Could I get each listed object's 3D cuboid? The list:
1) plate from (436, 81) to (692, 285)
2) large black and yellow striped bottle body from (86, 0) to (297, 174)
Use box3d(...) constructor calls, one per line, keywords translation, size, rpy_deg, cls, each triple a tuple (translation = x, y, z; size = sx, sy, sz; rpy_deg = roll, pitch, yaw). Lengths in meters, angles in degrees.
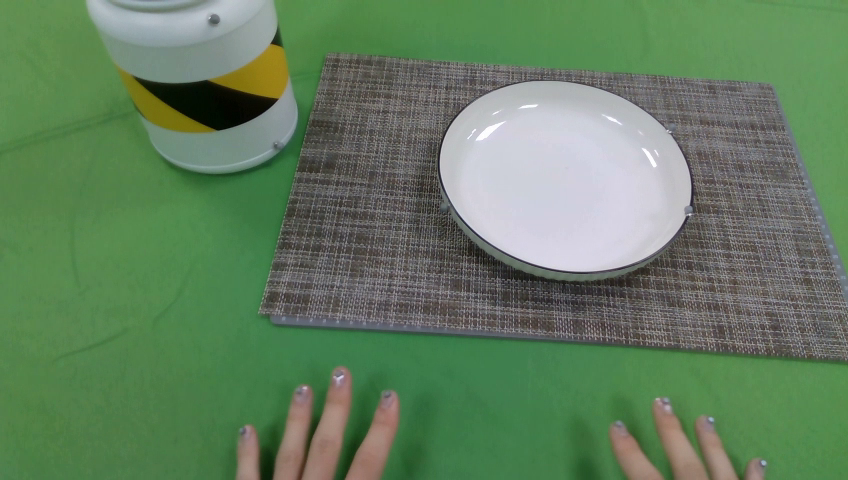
box3d(translation=(0.113, -0.049, 0.506), size=(0.208, 0.039, 0.205), rpy_deg=(1, 56, -1), cls="plate")
box3d(translation=(-0.180, -0.157, 0.484), size=(0.131, 0.185, 0.129), rpy_deg=(1, 56, -1), cls="large black and yellow striped bottle body")
